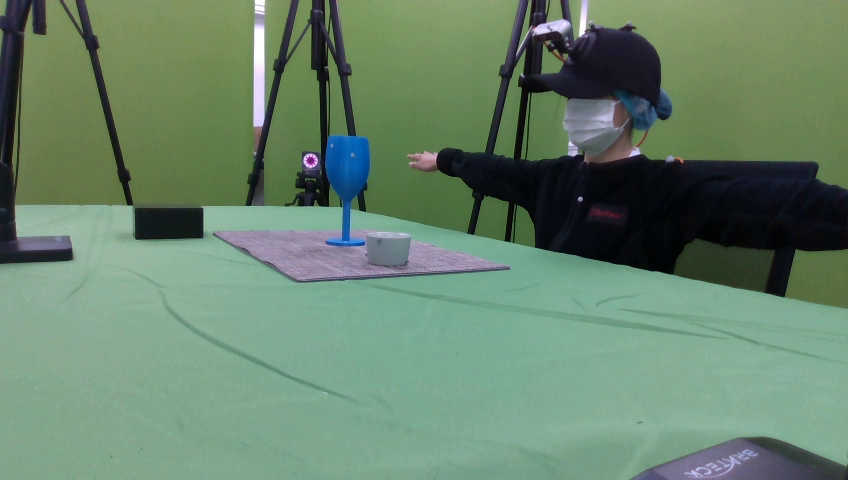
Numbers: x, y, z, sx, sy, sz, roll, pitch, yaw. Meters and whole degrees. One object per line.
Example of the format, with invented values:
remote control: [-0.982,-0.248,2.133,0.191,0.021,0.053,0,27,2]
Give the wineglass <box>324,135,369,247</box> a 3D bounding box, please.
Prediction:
wineglass: [-0.125,-0.079,0.965,0.074,0.172,0.073,3,7,0]

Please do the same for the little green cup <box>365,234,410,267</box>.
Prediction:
little green cup: [-0.048,0.014,0.802,0.061,0.038,0.061,2,8,0]
